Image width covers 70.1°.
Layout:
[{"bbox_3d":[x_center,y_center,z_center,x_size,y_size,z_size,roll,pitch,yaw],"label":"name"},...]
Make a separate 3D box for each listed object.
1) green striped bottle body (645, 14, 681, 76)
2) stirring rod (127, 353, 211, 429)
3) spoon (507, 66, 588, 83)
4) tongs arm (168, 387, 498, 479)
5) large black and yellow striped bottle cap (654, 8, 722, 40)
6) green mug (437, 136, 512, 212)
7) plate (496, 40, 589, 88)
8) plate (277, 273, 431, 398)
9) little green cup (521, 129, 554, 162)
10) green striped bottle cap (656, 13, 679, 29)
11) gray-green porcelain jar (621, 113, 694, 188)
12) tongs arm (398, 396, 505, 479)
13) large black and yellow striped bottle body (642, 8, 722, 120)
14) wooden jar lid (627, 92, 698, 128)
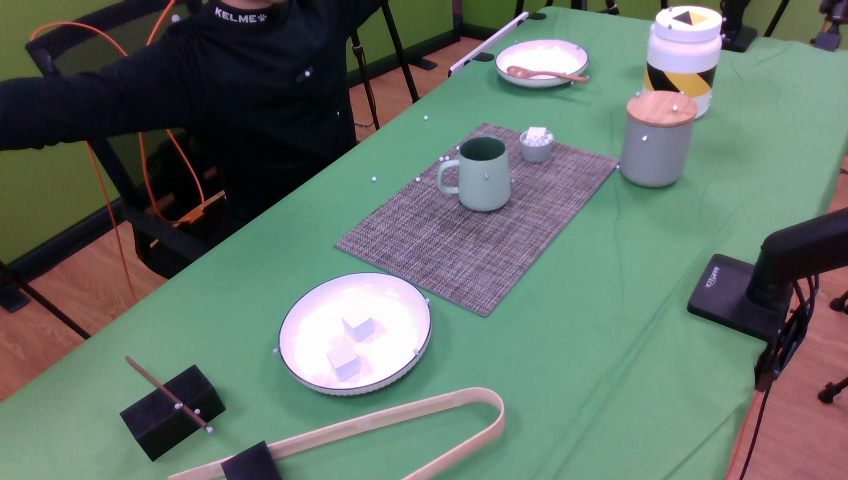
[{"bbox_3d":[0.520,-0.424,1.312,0.063,0.120,0.063,-4,41,4],"label":"green striped bottle body"},{"bbox_3d":[-0.311,0.180,0.731,0.175,0.014,0.006,25,53,31],"label":"stirring rod"},{"bbox_3d":[0.265,-0.358,1.311,0.192,0.022,0.042,18,47,38],"label":"spoon"},{"bbox_3d":[-0.100,0.230,0.711,0.388,0.028,0.028,-13,32,-7],"label":"tongs arm"},{"bbox_3d":[0.483,-0.397,1.108,0.115,0.019,0.114,-3,41,3],"label":"large black and yellow striped bottle cap"},{"bbox_3d":[0.084,-0.107,1.013,0.125,0.105,0.092,-9,40,-3],"label":"green mug"},{"bbox_3d":[0.268,-0.398,1.381,0.209,0.038,0.208,-4,41,4],"label":"plate"},{"bbox_3d":[-0.091,0.129,0.821,0.207,0.039,0.206,-4,40,4],"label":"plate"},{"bbox_3d":[0.211,-0.175,1.124,0.061,0.039,0.061,-4,42,4],"label":"little green cup"},{"bbox_3d":[0.515,-0.463,1.278,0.044,0.020,0.044,-6,42,6],"label":"green striped bottle cap"},{"bbox_3d":[0.390,-0.161,1.020,0.106,0.127,0.105,-4,41,4],"label":"gray-green porcelain jar"},{"bbox_3d":[-0.071,0.272,0.652,0.386,0.026,0.050,-21,37,-17],"label":"tongs arm"},{"bbox_3d":[0.493,-0.334,1.161,0.131,0.185,0.130,-4,41,4],"label":"large black and yellow striped bottle body"},{"bbox_3d":[0.384,-0.207,0.980,0.108,0.021,0.108,-6,39,5],"label":"wooden jar lid"}]
